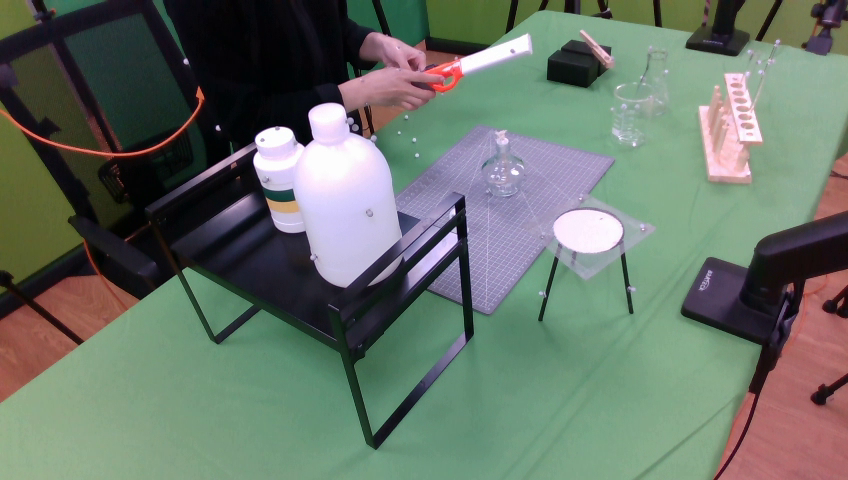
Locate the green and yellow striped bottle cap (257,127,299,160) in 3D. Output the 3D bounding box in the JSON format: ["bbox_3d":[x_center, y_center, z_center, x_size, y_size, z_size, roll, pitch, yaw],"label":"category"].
[{"bbox_3d":[-0.169,-0.112,0.699,0.045,0.020,0.045,-5,41,5],"label":"green and yellow striped bottle cap"}]

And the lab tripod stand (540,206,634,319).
[{"bbox_3d":[0.218,0.034,0.821,0.148,0.132,0.147,-4,42,4],"label":"lab tripod stand"}]

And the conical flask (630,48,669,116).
[{"bbox_3d":[0.457,-0.317,1.205,0.075,0.122,0.075,-4,41,4],"label":"conical flask"}]

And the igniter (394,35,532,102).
[{"bbox_3d":[0.061,-0.305,1.083,0.275,0.025,0.057,-12,80,29],"label":"igniter"}]

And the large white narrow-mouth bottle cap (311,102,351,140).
[{"bbox_3d":[-0.089,-0.114,0.579,0.038,0.024,0.037,-3,39,3],"label":"large white narrow-mouth bottle cap"}]

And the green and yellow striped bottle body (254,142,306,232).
[{"bbox_3d":[-0.165,-0.073,0.732,0.063,0.120,0.063,-4,41,4],"label":"green and yellow striped bottle body"}]

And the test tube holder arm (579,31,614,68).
[{"bbox_3d":[0.384,-0.428,1.351,0.013,0.015,0.177,-11,41,-3],"label":"test tube holder arm"}]

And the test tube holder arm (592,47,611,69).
[{"bbox_3d":[0.386,-0.398,1.317,0.010,0.015,0.087,-10,41,-2],"label":"test tube holder arm"}]

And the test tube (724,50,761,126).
[{"bbox_3d":[0.570,-0.269,1.086,0.017,0.151,0.017,-1,46,1],"label":"test tube"}]

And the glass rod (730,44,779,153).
[{"bbox_3d":[0.555,-0.233,1.020,0.008,0.200,0.008,2,40,-1],"label":"glass rod"}]

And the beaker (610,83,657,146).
[{"bbox_3d":[0.388,-0.235,1.138,0.074,0.101,0.083,-31,45,-25],"label":"beaker"}]

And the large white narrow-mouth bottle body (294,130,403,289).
[{"bbox_3d":[-0.082,-0.047,0.634,0.102,0.195,0.101,-4,40,4],"label":"large white narrow-mouth bottle body"}]

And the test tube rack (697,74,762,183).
[{"bbox_3d":[0.547,-0.208,1.095,0.066,0.085,0.242,5,42,15],"label":"test tube rack"}]

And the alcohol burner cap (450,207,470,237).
[{"bbox_3d":[0.057,-0.032,0.987,0.034,0.048,0.033,-5,41,4],"label":"alcohol burner cap"}]

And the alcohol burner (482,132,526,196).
[{"bbox_3d":[0.137,-0.136,1.042,0.078,0.119,0.077,-4,43,4],"label":"alcohol burner"}]

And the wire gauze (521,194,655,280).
[{"bbox_3d":[0.207,-0.012,0.772,0.122,0.011,0.124,-28,44,-20],"label":"wire gauze"}]
